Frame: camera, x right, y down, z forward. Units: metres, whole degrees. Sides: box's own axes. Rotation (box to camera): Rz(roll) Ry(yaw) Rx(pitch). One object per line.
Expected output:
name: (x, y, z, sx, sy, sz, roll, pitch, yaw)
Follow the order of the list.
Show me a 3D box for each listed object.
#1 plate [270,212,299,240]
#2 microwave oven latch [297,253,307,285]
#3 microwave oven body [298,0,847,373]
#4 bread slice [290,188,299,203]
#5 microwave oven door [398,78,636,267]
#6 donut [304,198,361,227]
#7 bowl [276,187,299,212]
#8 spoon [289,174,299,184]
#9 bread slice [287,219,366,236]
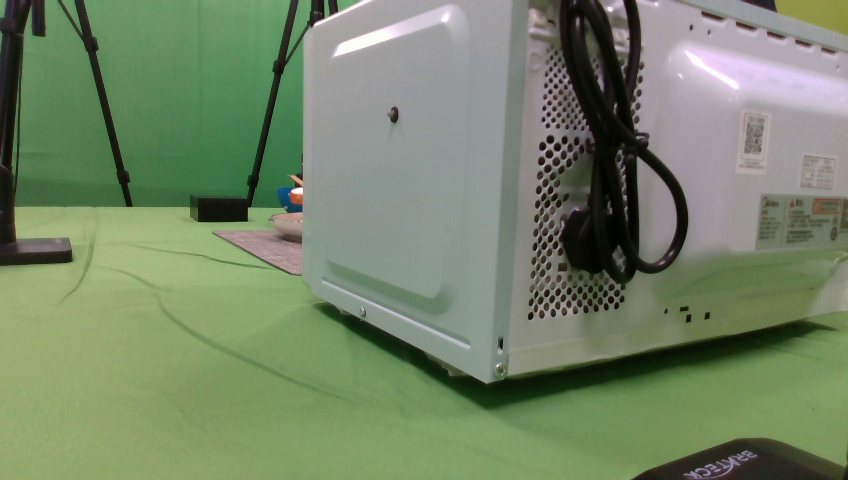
plate: (-0.162, -0.022, 1.058, 0.208, 0.039, 0.207, 2, 7, 0)
microwave oven latch: (-0.082, 0.027, 0.582, 0.079, 0.029, 0.030, -1, 7, -32)
microwave oven body: (0.151, -0.055, 0.543, 0.444, 0.260, 0.324, -1, 7, -33)
bread slice: (-0.167, -0.080, 1.053, 0.132, 0.019, 0.105, 0, 12, -1)
microwave oven door: (0.115, -0.103, 0.872, 0.354, 0.243, 0.039, 7, 9, 34)
donut: (-0.160, -0.050, 1.055, 0.099, 0.048, 0.099, 5, 5, 0)
bowl: (-0.241, -0.073, 1.302, 0.151, 0.077, 0.151, 2, 7, 0)
spoon: (-0.261, -0.111, 1.343, 0.042, 0.021, 0.192, -8, 33, -30)
bread slice: (-0.170, -0.022, 1.056, 0.134, 0.018, 0.107, 2, 7, -6)
